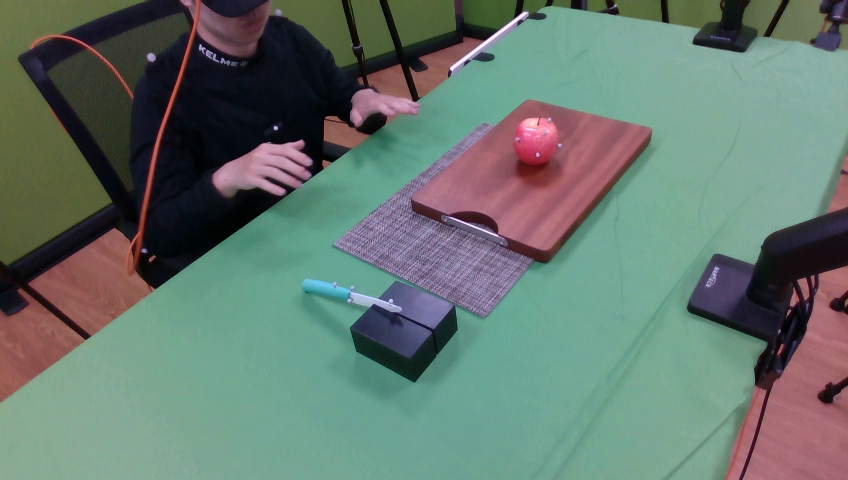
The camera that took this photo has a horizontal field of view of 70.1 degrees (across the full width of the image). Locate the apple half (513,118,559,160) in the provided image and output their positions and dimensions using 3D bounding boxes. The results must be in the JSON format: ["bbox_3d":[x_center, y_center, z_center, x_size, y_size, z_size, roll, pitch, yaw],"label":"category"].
[{"bbox_3d":[0.203,-0.180,1.067,0.080,0.075,0.053,12,40,26],"label":"apple half"}]

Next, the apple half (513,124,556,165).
[{"bbox_3d":[0.185,-0.157,1.041,0.081,0.081,0.033,14,41,24],"label":"apple half"}]

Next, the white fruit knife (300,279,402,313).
[{"bbox_3d":[-0.107,0.078,0.847,0.205,0.027,0.016,8,42,38],"label":"white fruit knife"}]
